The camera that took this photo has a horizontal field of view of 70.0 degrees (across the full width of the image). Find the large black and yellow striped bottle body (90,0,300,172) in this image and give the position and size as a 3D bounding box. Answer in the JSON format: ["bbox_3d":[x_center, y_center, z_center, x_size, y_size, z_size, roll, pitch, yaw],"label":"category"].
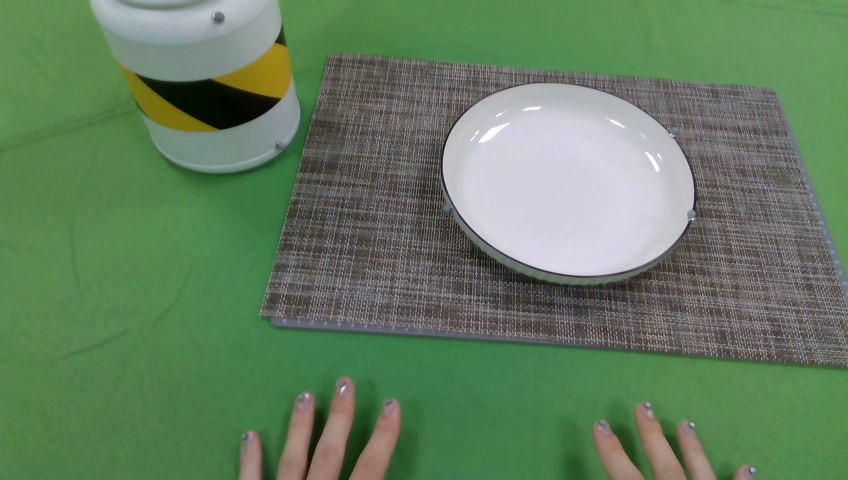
[{"bbox_3d":[-0.176,-0.159,0.481,0.131,0.185,0.129,1,56,-1],"label":"large black and yellow striped bottle body"}]

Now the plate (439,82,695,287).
[{"bbox_3d":[0.115,-0.048,0.504,0.208,0.039,0.205,1,56,-2],"label":"plate"}]
